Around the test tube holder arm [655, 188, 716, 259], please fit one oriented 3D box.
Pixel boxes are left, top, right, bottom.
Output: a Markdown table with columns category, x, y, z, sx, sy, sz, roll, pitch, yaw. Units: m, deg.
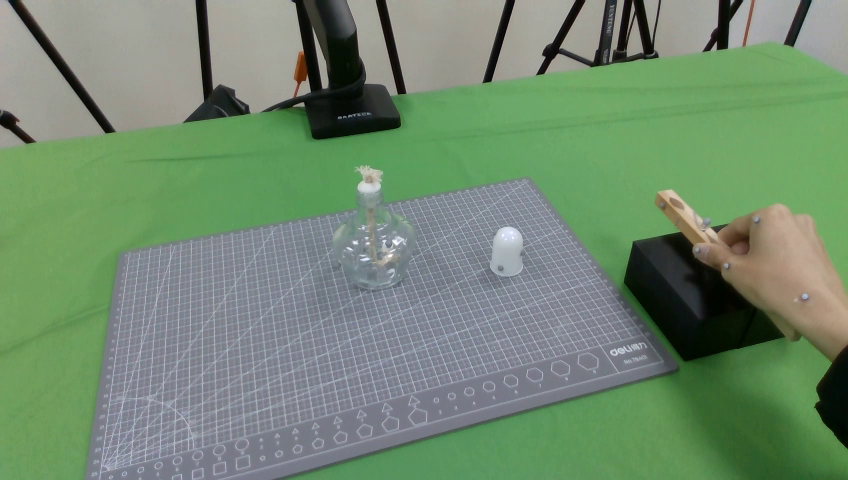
| category | x | y | z | sx | sy | sz | roll | pitch | yaw |
| --- | --- | --- | --- | --- | --- | --- | --- | --- | --- |
| test tube holder arm | 0.231 | -0.015 | 0.531 | 0.010 | 0.015 | 0.087 | -19 | 42 | -5 |

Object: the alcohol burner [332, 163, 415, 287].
| category | x | y | z | sx | sy | sz | roll | pitch | yaw |
| --- | --- | --- | --- | --- | --- | --- | --- | --- | --- |
| alcohol burner | -0.047 | -0.016 | 0.549 | 0.078 | 0.120 | 0.077 | -2 | 38 | 2 |

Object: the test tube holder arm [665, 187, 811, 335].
| category | x | y | z | sx | sy | sz | roll | pitch | yaw |
| --- | --- | --- | --- | --- | --- | --- | --- | --- | --- |
| test tube holder arm | 0.249 | 0.010 | 0.498 | 0.013 | 0.015 | 0.176 | -20 | 43 | -6 |

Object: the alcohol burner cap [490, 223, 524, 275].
| category | x | y | z | sx | sy | sz | roll | pitch | yaw |
| --- | --- | --- | --- | --- | --- | --- | --- | --- | --- |
| alcohol burner cap | 0.080 | 0.007 | 0.574 | 0.034 | 0.048 | 0.033 | -1 | 39 | 2 |
